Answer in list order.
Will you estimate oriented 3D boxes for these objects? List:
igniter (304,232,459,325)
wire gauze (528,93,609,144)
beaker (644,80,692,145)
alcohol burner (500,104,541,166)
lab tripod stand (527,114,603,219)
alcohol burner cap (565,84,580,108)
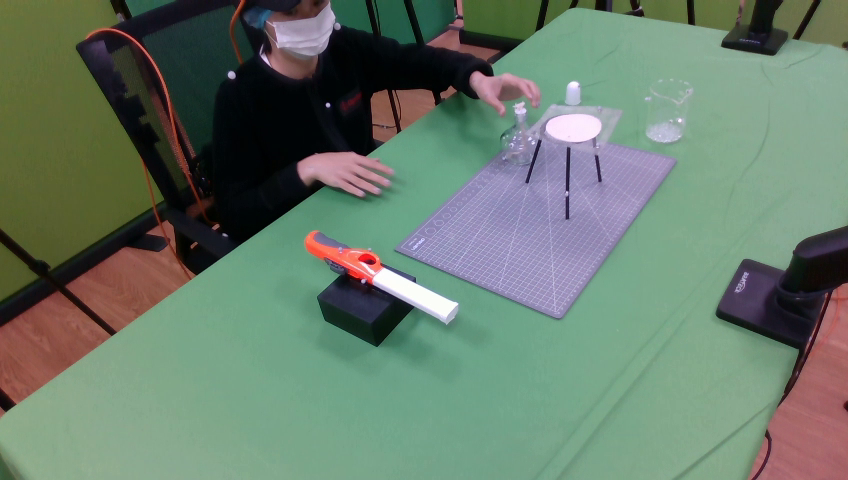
[{"bbox_3d":[-0.070,0.048,0.853,0.274,0.025,0.057,24,48,29],"label":"igniter"},{"bbox_3d":[0.225,-0.188,0.943,0.121,0.011,0.124,6,48,9],"label":"wire gauze"},{"bbox_3d":[0.451,-0.233,1.122,0.074,0.101,0.083,-8,40,1],"label":"beaker"},{"bbox_3d":[0.178,-0.196,1.106,0.078,0.119,0.077,-5,42,5],"label":"alcohol burner"},{"bbox_3d":[0.234,-0.129,1.002,0.148,0.132,0.147,-6,40,6],"label":"lab tripod stand"},{"bbox_3d":[0.315,-0.307,1.278,0.034,0.048,0.033,-4,42,5],"label":"alcohol burner cap"}]
